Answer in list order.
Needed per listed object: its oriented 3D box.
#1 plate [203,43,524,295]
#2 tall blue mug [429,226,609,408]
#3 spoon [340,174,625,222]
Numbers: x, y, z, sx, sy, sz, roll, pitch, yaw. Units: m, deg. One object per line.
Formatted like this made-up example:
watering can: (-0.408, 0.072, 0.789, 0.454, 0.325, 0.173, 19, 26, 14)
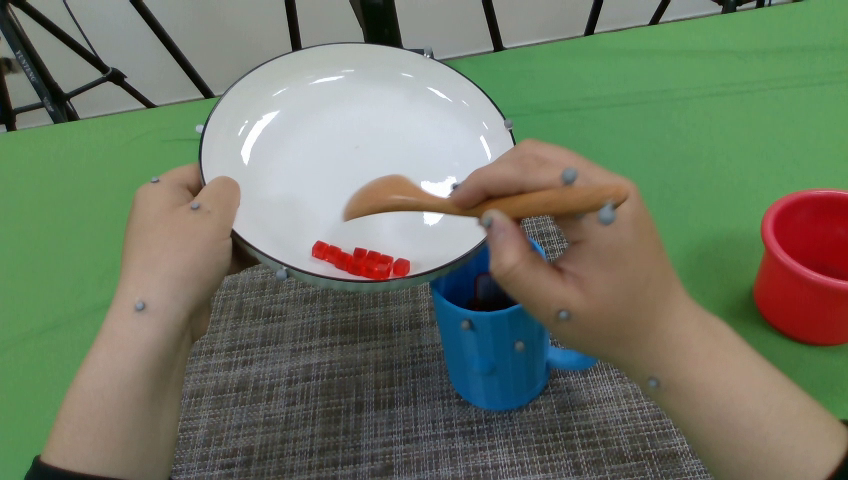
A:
plate: (-0.038, -0.051, 0.411, 0.208, 0.039, 0.205, 4, 57, -5)
tall blue mug: (0.063, 0.051, 0.416, 0.107, 0.109, 0.077, -13, 43, -1)
spoon: (0.014, -0.019, 0.293, 0.041, 0.022, 0.192, -42, 29, -28)
